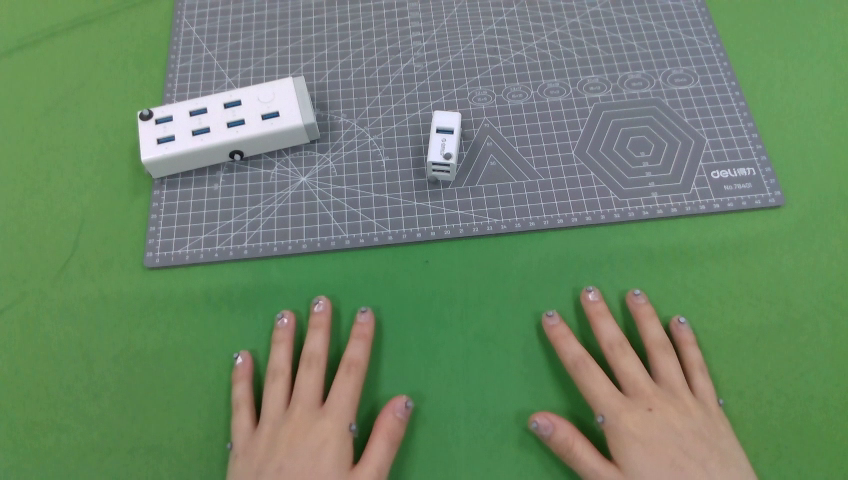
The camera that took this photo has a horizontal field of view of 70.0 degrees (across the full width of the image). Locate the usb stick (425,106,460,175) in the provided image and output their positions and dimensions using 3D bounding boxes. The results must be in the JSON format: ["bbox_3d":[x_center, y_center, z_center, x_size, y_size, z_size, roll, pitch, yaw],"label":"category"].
[{"bbox_3d":[0.015,-0.078,0.442,0.021,0.027,0.058,5,62,6],"label":"usb stick"}]

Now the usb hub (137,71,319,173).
[{"bbox_3d":[-0.145,-0.089,0.451,0.125,0.025,0.049,-14,65,-6],"label":"usb hub"}]
